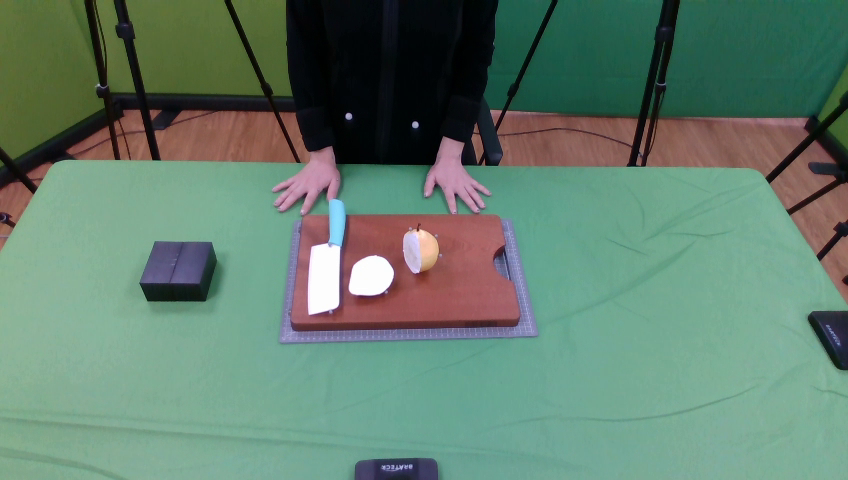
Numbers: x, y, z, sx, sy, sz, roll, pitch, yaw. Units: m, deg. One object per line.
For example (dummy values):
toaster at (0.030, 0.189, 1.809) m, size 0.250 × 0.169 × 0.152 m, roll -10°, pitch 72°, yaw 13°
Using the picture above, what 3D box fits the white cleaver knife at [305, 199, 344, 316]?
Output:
white cleaver knife at (-0.185, 0.022, 1.123) m, size 0.066 × 0.021 × 0.284 m, roll -7°, pitch 45°, yaw 3°

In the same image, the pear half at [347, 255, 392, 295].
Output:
pear half at (-0.099, 0.069, 1.076) m, size 0.088 × 0.031 × 0.070 m, roll -39°, pitch 75°, yaw -18°

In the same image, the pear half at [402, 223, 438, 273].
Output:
pear half at (-0.003, 0.005, 1.093) m, size 0.056 × 0.110 × 0.076 m, roll -24°, pitch 56°, yaw -25°
